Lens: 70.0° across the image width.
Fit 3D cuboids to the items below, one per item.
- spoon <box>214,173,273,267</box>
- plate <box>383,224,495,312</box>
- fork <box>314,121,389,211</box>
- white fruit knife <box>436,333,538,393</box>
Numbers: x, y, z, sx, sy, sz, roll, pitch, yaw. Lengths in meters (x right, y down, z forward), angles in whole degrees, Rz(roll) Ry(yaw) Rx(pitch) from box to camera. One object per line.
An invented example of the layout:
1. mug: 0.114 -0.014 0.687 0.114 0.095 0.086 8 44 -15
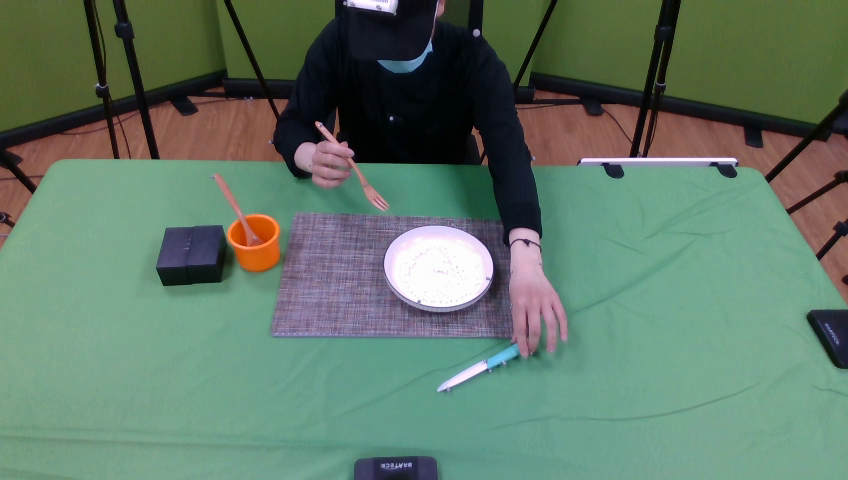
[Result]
1. spoon: -0.336 -0.037 1.121 0.041 0.194 0.021 -29 10 -25
2. plate: 0.026 0.055 1.128 0.209 0.038 0.208 2 46 -2
3. fork: -0.134 -0.136 1.122 0.208 0.018 0.028 53 47 -11
4. white fruit knife: 0.109 0.206 1.009 0.207 0.016 0.027 -24 28 -20
